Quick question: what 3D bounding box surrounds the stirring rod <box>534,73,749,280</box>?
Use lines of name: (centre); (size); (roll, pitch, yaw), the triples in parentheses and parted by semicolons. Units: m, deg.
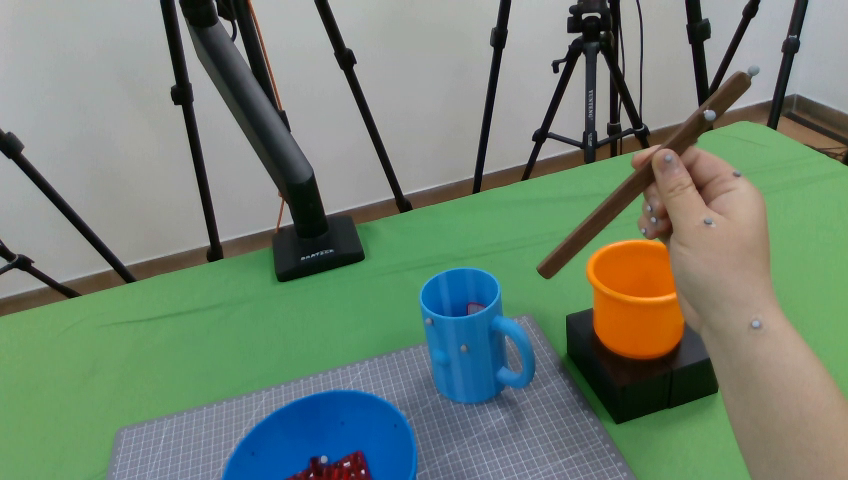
stirring rod: (0.137, -0.037, 0.390); (0.176, 0.014, 0.005); (-47, 28, 14)

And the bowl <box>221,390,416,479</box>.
bowl: (-0.074, 0.201, 0.476); (0.151, 0.077, 0.150); (-6, 33, 5)

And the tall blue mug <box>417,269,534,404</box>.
tall blue mug: (0.054, 0.094, 0.579); (0.107, 0.109, 0.077); (1, 34, 15)
